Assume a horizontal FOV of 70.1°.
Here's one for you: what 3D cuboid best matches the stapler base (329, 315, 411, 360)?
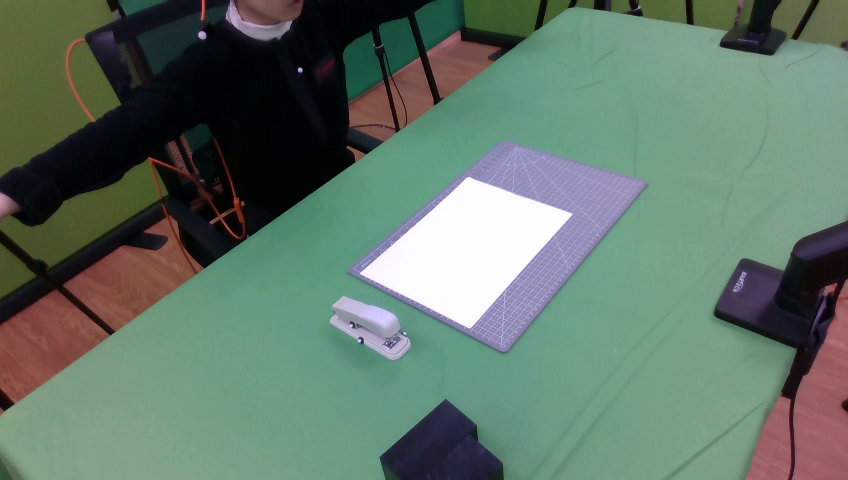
[{"bbox_3d":[-0.077,0.122,0.841,0.129,0.024,0.041,22,46,33],"label":"stapler base"}]

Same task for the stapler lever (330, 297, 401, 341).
[{"bbox_3d":[-0.081,0.102,0.825,0.117,0.040,0.027,22,46,33],"label":"stapler lever"}]
